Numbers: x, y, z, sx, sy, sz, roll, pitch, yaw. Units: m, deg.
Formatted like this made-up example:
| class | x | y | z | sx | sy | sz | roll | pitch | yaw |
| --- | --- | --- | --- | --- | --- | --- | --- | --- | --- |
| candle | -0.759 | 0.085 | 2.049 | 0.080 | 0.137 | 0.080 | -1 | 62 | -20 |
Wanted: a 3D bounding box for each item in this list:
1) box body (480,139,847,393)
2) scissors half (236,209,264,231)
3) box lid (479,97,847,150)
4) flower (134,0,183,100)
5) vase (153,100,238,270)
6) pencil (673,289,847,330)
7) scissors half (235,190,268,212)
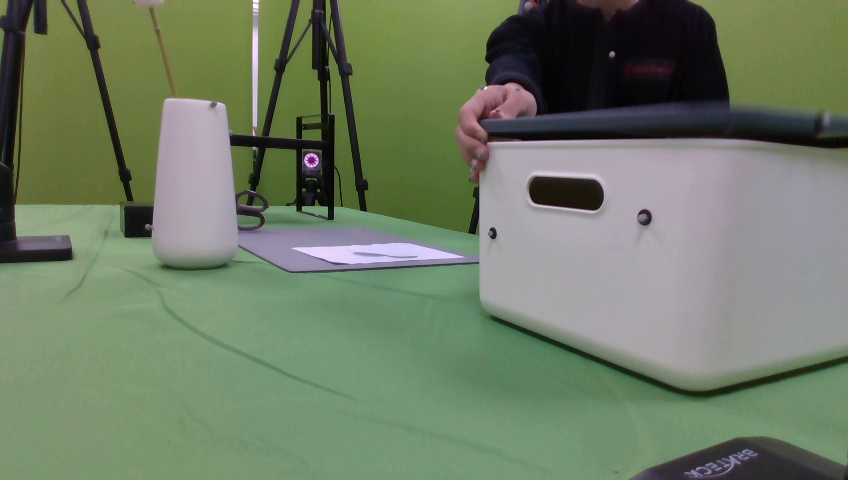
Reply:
| class | x | y | z | sx | sy | sz | roll | pitch | yaw |
| --- | --- | --- | --- | --- | --- | --- | --- | --- | --- |
| box body | 0.255 | 0.001 | 0.541 | 0.366 | 0.160 | 0.253 | -2 | 9 | -31 |
| scissors half | -0.369 | -0.051 | 1.065 | 0.176 | 0.040 | 0.012 | 19 | 15 | -28 |
| box lid | 0.259 | -0.088 | 0.525 | 0.373 | 0.015 | 0.262 | -1 | 6 | -30 |
| flower | -0.282 | -0.147 | 0.713 | 0.038 | 0.362 | 0.044 | -23 | 24 | -31 |
| vase | -0.278 | -0.066 | 0.736 | 0.098 | 0.200 | 0.098 | 2 | 9 | 0 |
| pencil | 0.330 | 0.066 | 0.609 | 0.012 | 0.012 | 0.193 | -1 | 6 | -28 |
| scissors half | -0.363 | -0.070 | 1.060 | 0.176 | 0.040 | 0.013 | 0 | 17 | -23 |
